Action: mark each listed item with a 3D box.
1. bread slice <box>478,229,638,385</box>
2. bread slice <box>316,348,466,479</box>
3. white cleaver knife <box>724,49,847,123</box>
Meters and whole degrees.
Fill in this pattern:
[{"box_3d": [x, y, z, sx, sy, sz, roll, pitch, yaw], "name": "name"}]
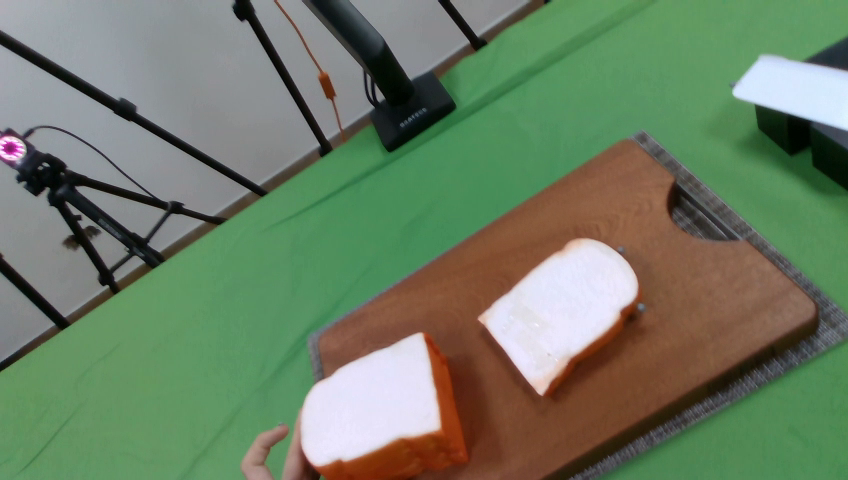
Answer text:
[{"box_3d": [0.121, 0.051, 0.525, 0.131, 0.019, 0.103, -43, 40, 4], "name": "bread slice"}, {"box_3d": [-0.034, 0.160, 0.545, 0.134, 0.018, 0.106, -19, 43, 11], "name": "bread slice"}, {"box_3d": [0.366, -0.103, 0.469, 0.066, 0.022, 0.283, -43, 44, -3], "name": "white cleaver knife"}]
